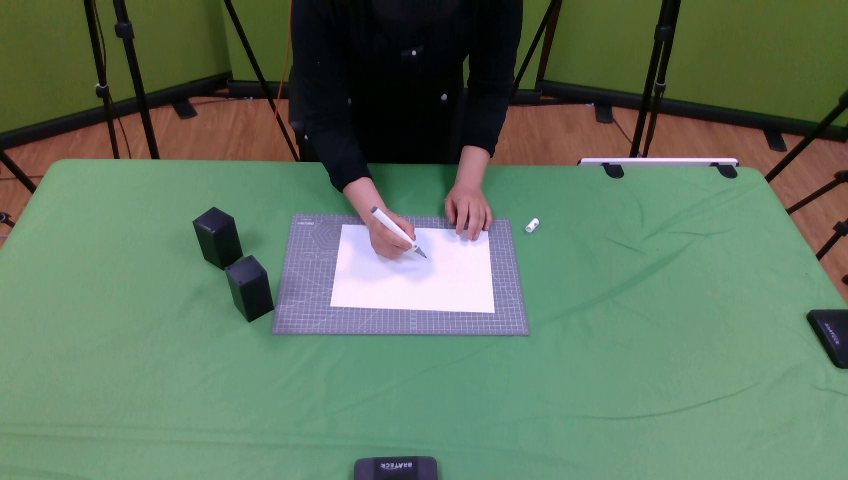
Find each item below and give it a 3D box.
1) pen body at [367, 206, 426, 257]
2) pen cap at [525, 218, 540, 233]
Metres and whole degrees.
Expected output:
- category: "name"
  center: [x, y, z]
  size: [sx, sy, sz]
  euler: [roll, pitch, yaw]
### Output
- category: "pen body"
  center: [-0.047, -0.013, 1.120]
  size: [0.145, 0.017, 0.017]
  euler: [41, 43, -21]
- category: "pen cap"
  center: [0.224, -0.031, 1.248]
  size: [0.017, 0.017, 0.038]
  euler: [30, 51, 23]
